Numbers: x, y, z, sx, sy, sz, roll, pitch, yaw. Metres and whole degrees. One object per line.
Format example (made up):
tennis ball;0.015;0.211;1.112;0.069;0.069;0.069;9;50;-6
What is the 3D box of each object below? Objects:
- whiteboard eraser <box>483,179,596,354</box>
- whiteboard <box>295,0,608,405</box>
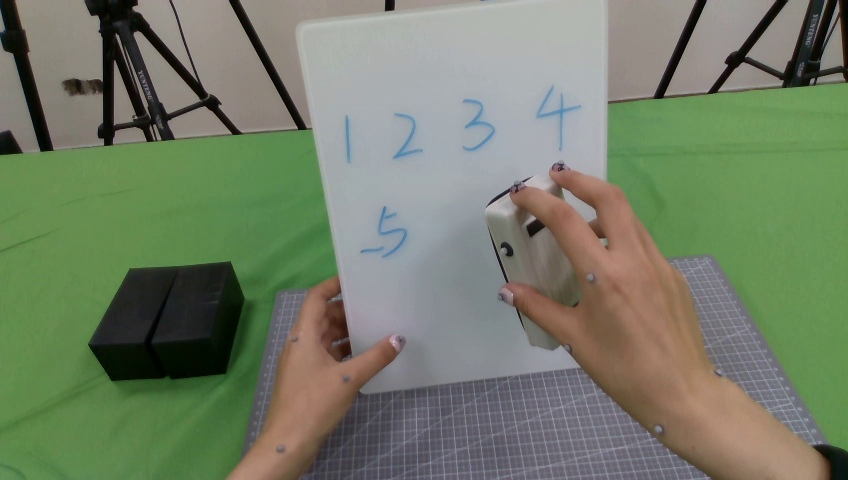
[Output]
whiteboard eraser;0.079;0.018;0.417;0.055;0.113;0.041;-35;25;-28
whiteboard;0.032;-0.038;0.528;0.217;0.307;0.143;-6;20;0
